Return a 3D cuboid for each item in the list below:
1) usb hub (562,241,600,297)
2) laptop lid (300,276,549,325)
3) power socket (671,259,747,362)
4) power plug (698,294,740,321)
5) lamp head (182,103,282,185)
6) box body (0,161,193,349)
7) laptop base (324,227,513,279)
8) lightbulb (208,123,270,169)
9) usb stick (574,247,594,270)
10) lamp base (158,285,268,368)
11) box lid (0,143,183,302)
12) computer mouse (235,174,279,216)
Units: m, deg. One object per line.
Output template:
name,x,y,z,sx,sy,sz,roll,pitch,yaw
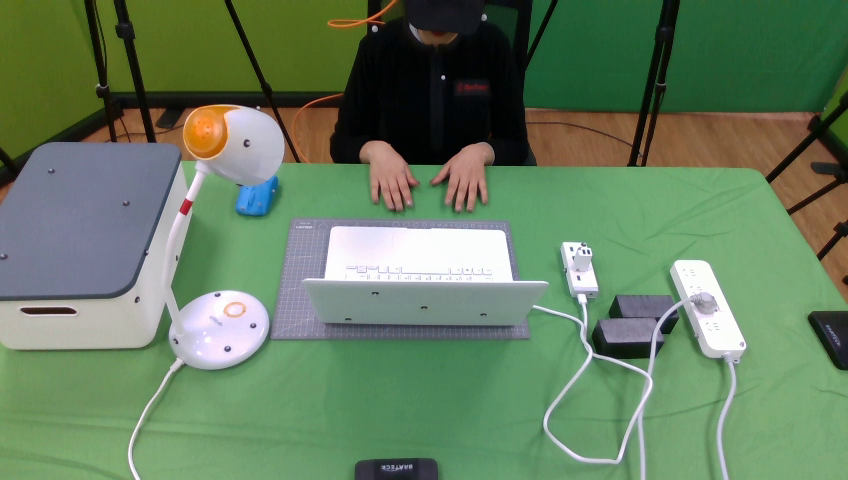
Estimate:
usb hub,0.300,0.055,1.162,0.049,0.025,0.124,2,46,-3
laptop lid,-0.002,0.100,0.947,0.357,0.242,0.013,1,67,-4
power socket,0.516,0.119,1.108,0.072,0.033,0.225,0,46,-2
power plug,0.515,0.127,1.070,0.035,0.053,0.072,-18,56,-7
lamp head,-0.271,-0.133,0.825,0.112,0.112,0.123,20,8,15
box body,-0.570,0.006,1.054,0.254,0.161,0.361,-1,46,-4
laptop base,-0.009,0.063,1.137,0.354,0.023,0.234,1,42,-3
lightbulb,-0.261,-0.136,0.848,0.059,0.108,0.059,-4,77,21
usb stick,0.298,0.040,1.135,0.027,0.059,0.021,2,46,-4
lamp base,-0.348,0.102,0.963,0.160,0.181,0.178,23,51,18
box lid,-0.567,-0.045,0.999,0.263,0.015,0.369,-1,46,-4
computer mouse,-0.346,-0.098,1.258,0.063,0.041,0.116,8,50,2
